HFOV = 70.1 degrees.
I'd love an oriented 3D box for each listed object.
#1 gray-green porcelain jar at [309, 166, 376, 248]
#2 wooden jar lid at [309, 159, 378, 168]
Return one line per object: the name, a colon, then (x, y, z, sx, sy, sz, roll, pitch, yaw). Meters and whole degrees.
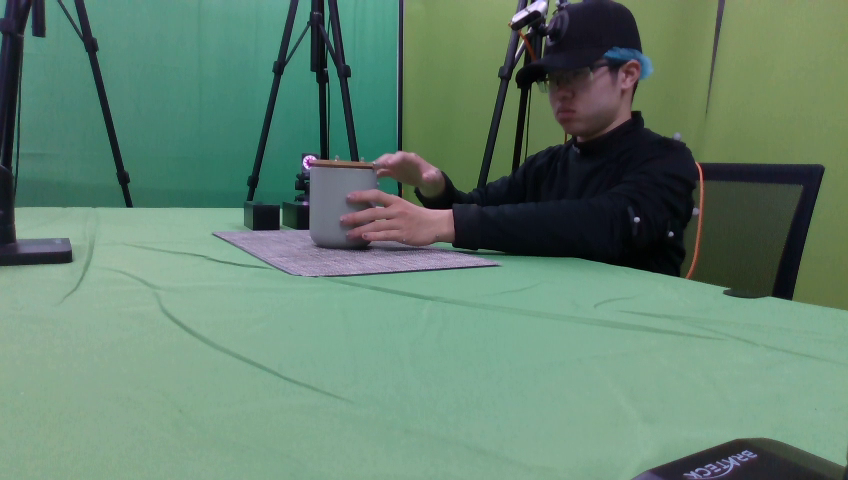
gray-green porcelain jar: (-0.130, -0.054, 0.966, 0.106, 0.126, 0.106, 2, 7, 0)
wooden jar lid: (-0.128, -0.117, 0.957, 0.108, 0.020, 0.108, 3, 7, 0)
